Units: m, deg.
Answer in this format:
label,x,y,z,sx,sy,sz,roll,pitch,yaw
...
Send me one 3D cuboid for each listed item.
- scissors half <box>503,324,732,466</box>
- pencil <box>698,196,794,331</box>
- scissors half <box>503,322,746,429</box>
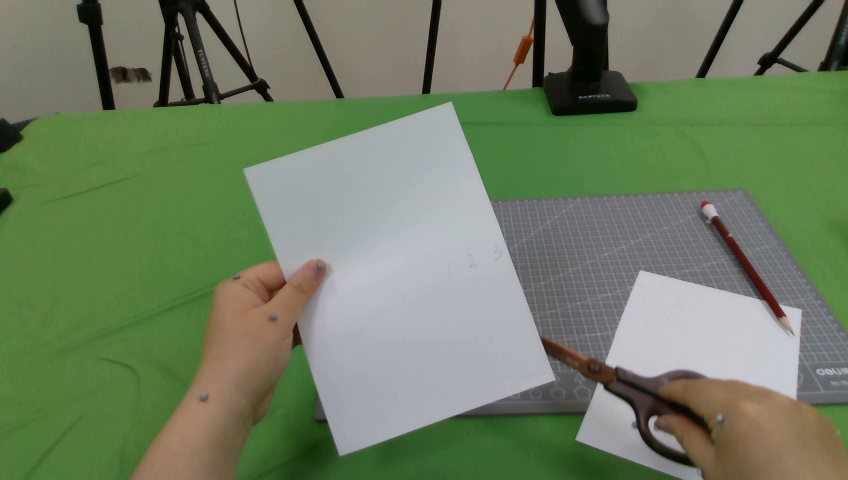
label,x,y,z,sx,sy,sz,roll,pitch,yaw
scissors half,0.126,0.102,0.426,0.173,0.013,0.040,31,55,33
pencil,0.310,0.016,0.591,0.012,0.012,0.192,-5,40,0
scissors half,0.138,0.090,0.438,0.174,0.013,0.040,17,43,21
